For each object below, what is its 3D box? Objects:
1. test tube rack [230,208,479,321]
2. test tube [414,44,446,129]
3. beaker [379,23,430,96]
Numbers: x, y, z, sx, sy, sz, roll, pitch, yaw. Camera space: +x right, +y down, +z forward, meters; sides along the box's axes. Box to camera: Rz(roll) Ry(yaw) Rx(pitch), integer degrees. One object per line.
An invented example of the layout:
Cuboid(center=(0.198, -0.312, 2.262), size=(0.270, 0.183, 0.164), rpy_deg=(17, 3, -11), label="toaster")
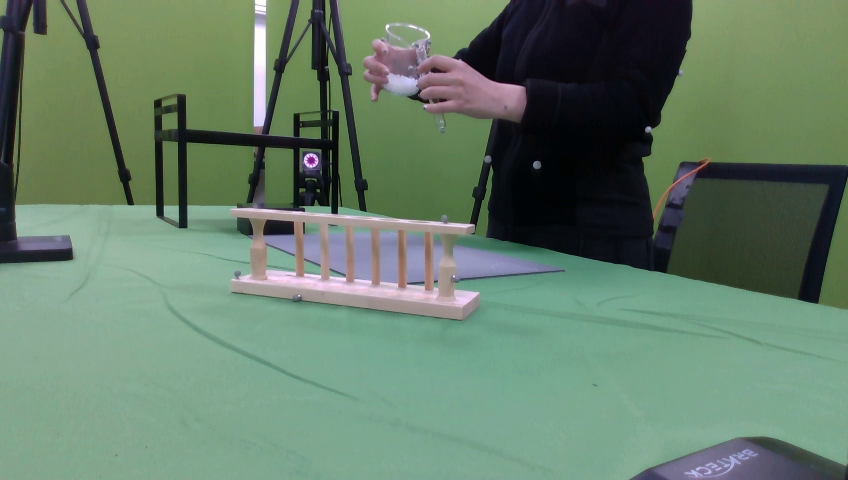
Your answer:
Cuboid(center=(-0.069, 0.017, 0.598), size=(0.242, 0.085, 0.067), rpy_deg=(5, 8, 18), label="test tube rack")
Cuboid(center=(0.009, -0.235, 0.922), size=(0.017, 0.150, 0.017), rpy_deg=(-13, -20, -4), label="test tube")
Cuboid(center=(-0.035, -0.300, 1.016), size=(0.074, 0.100, 0.083), rpy_deg=(2, 38, -13), label="beaker")
